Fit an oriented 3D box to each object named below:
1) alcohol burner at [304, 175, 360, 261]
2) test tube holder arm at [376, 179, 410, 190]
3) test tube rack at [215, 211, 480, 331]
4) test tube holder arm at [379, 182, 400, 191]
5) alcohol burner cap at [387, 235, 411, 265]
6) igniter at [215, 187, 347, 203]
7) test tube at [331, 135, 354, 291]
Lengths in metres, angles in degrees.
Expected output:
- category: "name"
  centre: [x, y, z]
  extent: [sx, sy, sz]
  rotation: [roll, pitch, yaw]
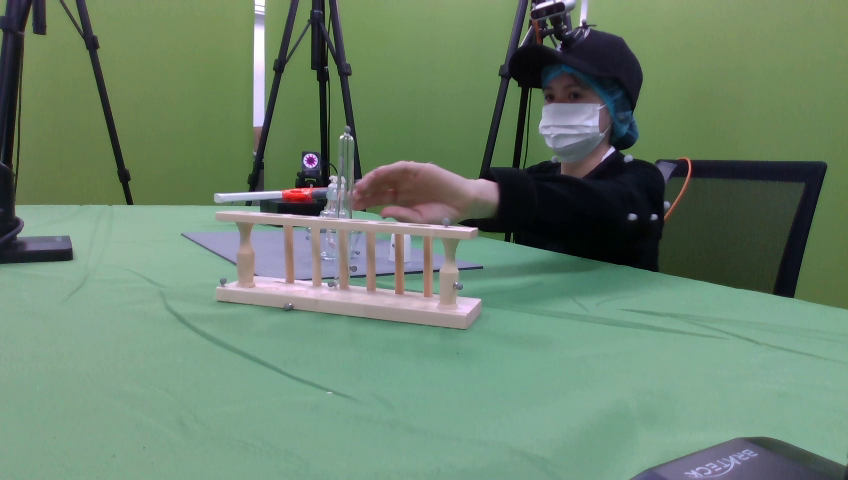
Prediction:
- category: "alcohol burner"
  centre: [-0.126, -0.031, 0.838]
  extent: [0.078, 0.119, 0.078]
  rotation: [3, 5, 0]
- category: "test tube holder arm"
  centre: [-0.055, -0.103, 1.134]
  extent: [0.015, 0.013, 0.179]
  rotation: [-38, -5, 12]
- category: "test tube rack"
  centre: [-0.071, 0.023, 0.565]
  extent: [0.242, 0.085, 0.067]
  rotation: [5, 7, 16]
- category: "test tube holder arm"
  centre: [-0.061, -0.096, 1.090]
  extent: [0.015, 0.010, 0.088]
  rotation: [-38, -4, 12]
- category: "alcohol burner cap"
  centre: [-0.035, 0.009, 0.839]
  extent: [0.034, 0.048, 0.034]
  rotation: [2, 6, 0]
- category: "igniter"
  centre: [-0.293, -0.094, 1.267]
  extent: [0.278, 0.025, 0.057]
  rotation: [-6, 12, -33]
- category: "test tube"
  centre: [-0.079, -0.025, 0.581]
  extent: [0.017, 0.150, 0.017]
  rotation: [3, 7, 0]
